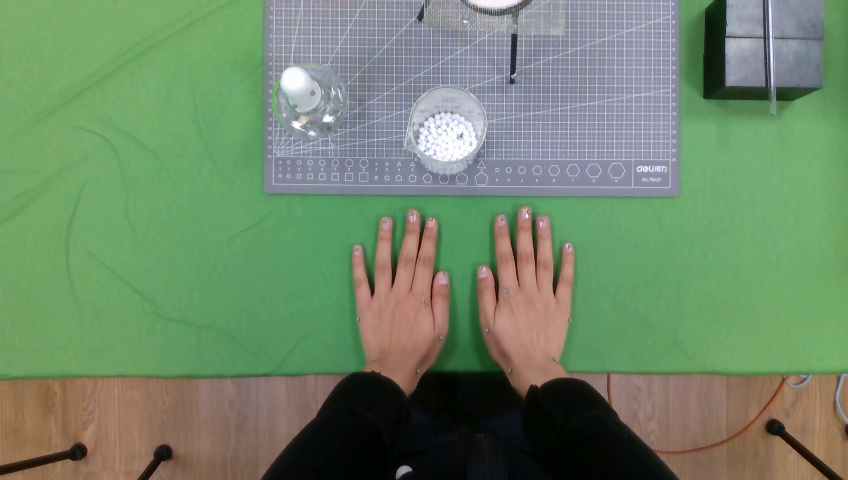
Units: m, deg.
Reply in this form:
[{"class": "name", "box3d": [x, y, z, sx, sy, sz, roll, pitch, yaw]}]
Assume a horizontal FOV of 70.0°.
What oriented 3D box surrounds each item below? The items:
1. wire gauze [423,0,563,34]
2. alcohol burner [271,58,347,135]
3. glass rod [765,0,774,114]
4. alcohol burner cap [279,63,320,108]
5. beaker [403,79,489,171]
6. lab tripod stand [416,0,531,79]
[{"class": "wire gauze", "box3d": [0.060, -0.242, 0.526, 0.125, 0.011, 0.121, 1, 90, 0]}, {"class": "alcohol burner", "box3d": [-0.117, -0.146, 0.601, 0.078, 0.119, 0.078, 0, 91, -1]}, {"class": "glass rod", "box3d": [0.349, -0.227, 0.612, 0.008, 0.008, 0.199, -1, 91, 0]}, {"class": "alcohol burner cap", "box3d": [-0.118, -0.146, 0.565, 0.034, 0.048, 0.034, 0, 84, 4]}, {"class": "beaker", "box3d": [0.020, -0.108, 0.609, 0.084, 0.100, 0.074, -27, 89, 0]}, {"class": "lab tripod stand", "box3d": [0.064, -0.245, 0.593, 0.148, 0.131, 0.148, 0, 87, 1]}]
